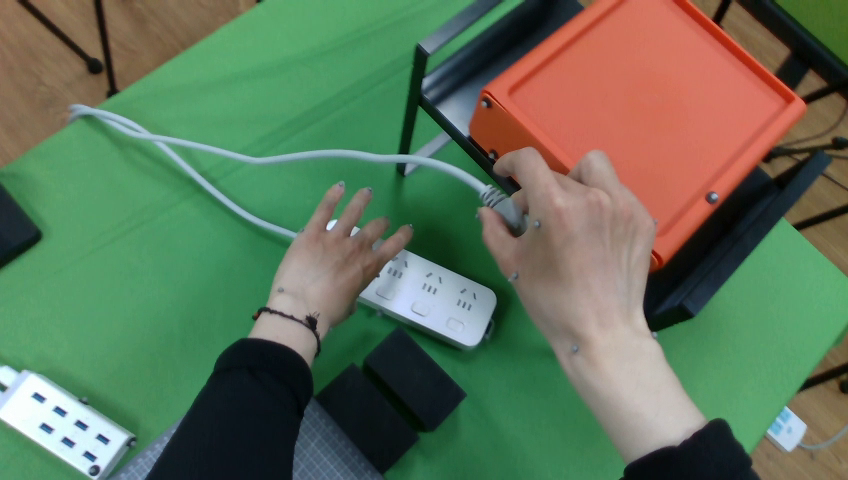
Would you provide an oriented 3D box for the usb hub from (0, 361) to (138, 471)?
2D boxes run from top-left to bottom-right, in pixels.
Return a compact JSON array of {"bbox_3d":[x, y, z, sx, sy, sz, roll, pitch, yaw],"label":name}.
[{"bbox_3d":[-0.349,0.171,0.591,0.125,0.025,0.049,31,73,3],"label":"usb hub"}]

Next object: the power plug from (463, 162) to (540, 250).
[{"bbox_3d":[0.060,-0.026,0.461,0.035,0.053,0.072,-23,68,-4],"label":"power plug"}]

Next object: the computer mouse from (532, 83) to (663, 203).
[{"bbox_3d":[0.155,-0.089,0.537,0.117,0.041,0.062,42,76,8],"label":"computer mouse"}]

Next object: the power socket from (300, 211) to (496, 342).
[{"bbox_3d":[-0.025,0.040,0.671,0.227,0.033,0.072,25,71,1],"label":"power socket"}]

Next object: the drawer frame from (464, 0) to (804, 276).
[{"bbox_3d":[0.180,-0.113,0.532,0.213,0.083,0.201,-43,82,-18],"label":"drawer frame"}]

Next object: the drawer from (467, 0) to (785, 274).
[{"bbox_3d":[0.178,-0.110,0.531,0.211,0.073,0.194,-41,82,-17],"label":"drawer"}]
